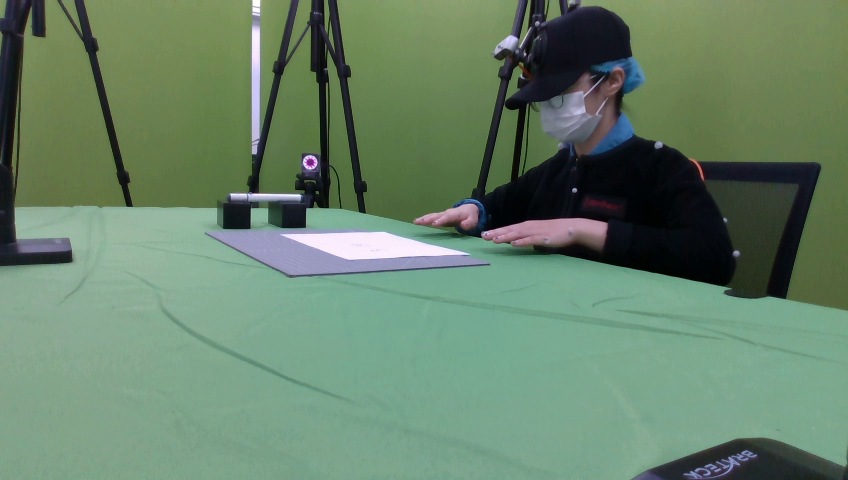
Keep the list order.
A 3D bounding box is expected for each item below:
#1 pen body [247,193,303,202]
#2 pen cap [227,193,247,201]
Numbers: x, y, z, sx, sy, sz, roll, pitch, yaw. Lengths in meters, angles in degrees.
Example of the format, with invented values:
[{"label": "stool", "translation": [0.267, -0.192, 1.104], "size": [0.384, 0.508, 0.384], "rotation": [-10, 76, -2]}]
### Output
[{"label": "pen body", "translation": [-0.321, -0.087, 1.244], "size": [0.145, 0.017, 0.017], "rotation": [-2, 9, -33]}, {"label": "pen cap", "translation": [-0.373, -0.085, 1.209], "size": [0.039, 0.017, 0.017], "rotation": [-1, 8, -34]}]
